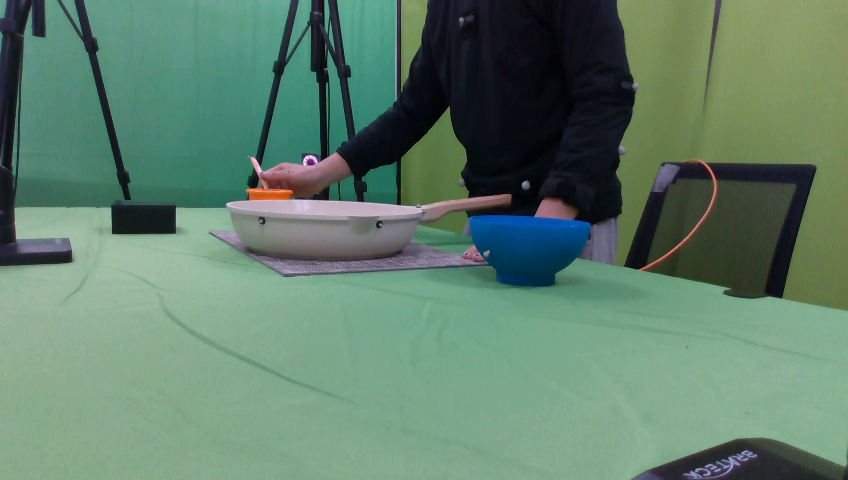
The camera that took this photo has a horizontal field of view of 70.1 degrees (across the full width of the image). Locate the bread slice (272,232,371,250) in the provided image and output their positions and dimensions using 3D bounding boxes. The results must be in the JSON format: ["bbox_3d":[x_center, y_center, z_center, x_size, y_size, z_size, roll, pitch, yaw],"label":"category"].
[{"bbox_3d":[-0.148,0.001,0.929,0.133,0.018,0.107,5,7,38],"label":"bread slice"}]

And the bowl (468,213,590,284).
[{"bbox_3d":[0.128,0.011,0.755,0.151,0.077,0.151,2,7,0],"label":"bowl"}]

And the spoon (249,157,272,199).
[{"bbox_3d":[-0.333,-0.108,1.269,0.042,0.193,0.021,2,-39,-41],"label":"spoon"}]

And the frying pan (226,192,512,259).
[{"bbox_3d":[-0.058,-0.041,0.975,0.490,0.102,0.305,-11,13,-26],"label":"frying pan"}]
